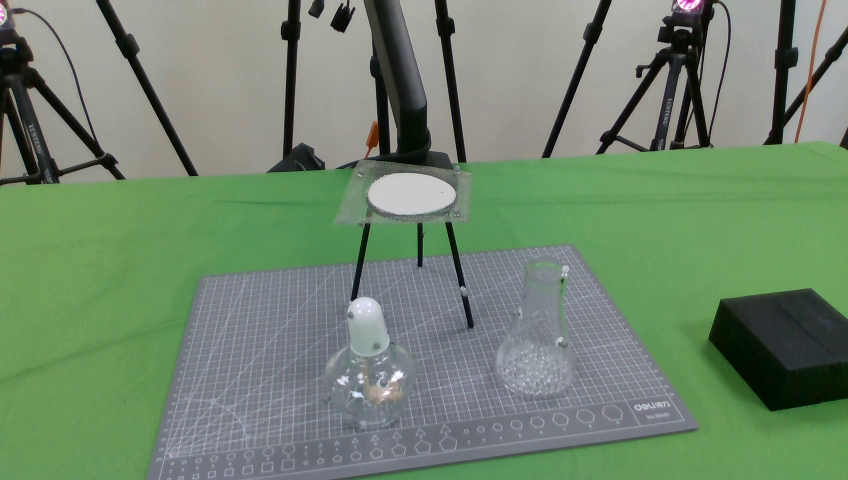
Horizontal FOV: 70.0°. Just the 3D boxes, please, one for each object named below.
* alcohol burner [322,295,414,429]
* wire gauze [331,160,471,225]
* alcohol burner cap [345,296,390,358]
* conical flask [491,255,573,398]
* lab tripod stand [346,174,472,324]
[{"bbox_3d":[-0.047,0.097,0.501,0.078,0.120,0.077,0,30,1],"label":"alcohol burner"},{"bbox_3d":[-0.017,-0.046,0.586,0.121,0.011,0.124,4,33,4],"label":"wire gauze"},{"bbox_3d":[-0.046,0.067,0.481,0.034,0.048,0.033,-4,36,4],"label":"alcohol burner cap"},{"bbox_3d":[0.100,0.073,0.533,0.075,0.123,0.074,0,32,0],"label":"conical flask"},{"bbox_3d":[-0.010,0.010,0.621,0.148,0.132,0.147,2,32,-1],"label":"lab tripod stand"}]
